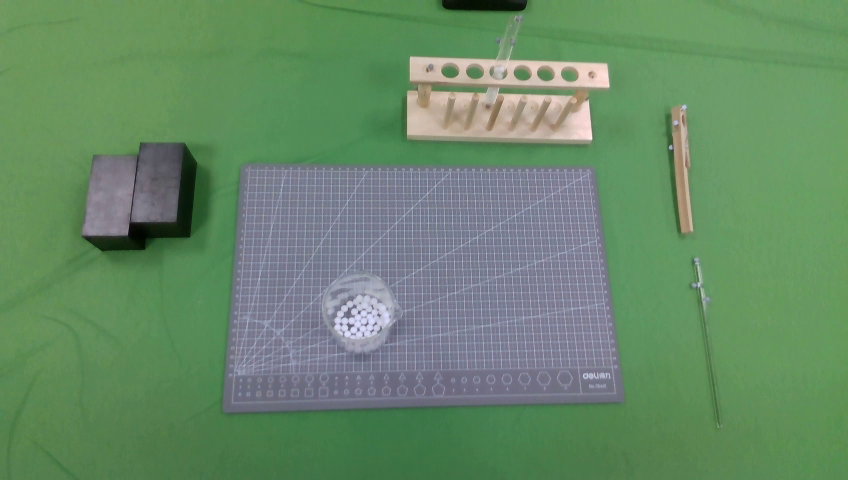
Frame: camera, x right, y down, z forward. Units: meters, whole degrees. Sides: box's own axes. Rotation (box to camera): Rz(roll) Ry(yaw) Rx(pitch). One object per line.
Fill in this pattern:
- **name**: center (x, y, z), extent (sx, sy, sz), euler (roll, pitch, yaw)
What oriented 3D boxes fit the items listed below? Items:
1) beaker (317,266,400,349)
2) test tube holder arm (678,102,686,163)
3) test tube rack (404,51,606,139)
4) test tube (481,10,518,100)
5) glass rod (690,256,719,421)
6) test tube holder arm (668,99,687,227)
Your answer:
- **beaker**: center (-0.069, 0.078, 0.656), extent (0.084, 0.101, 0.073), euler (8, 71, -2)
- **test tube holder arm**: center (0.338, -0.143, 0.806), extent (0.010, 0.015, 0.087), euler (16, 69, -30)
- **test tube rack**: center (0.097, -0.180, 0.763), extent (0.243, 0.085, 0.066), euler (1, 72, -4)
- **test tube**: center (0.087, -0.215, 0.722), extent (0.017, 0.151, 0.017), euler (2, 68, -5)
- **glass rod**: center (0.336, 0.114, 0.727), extent (0.008, 0.008, 0.198), euler (2, 72, -4)
- **test tube holder arm**: center (0.330, -0.102, 0.789), extent (0.013, 0.015, 0.177), euler (16, 69, -30)
